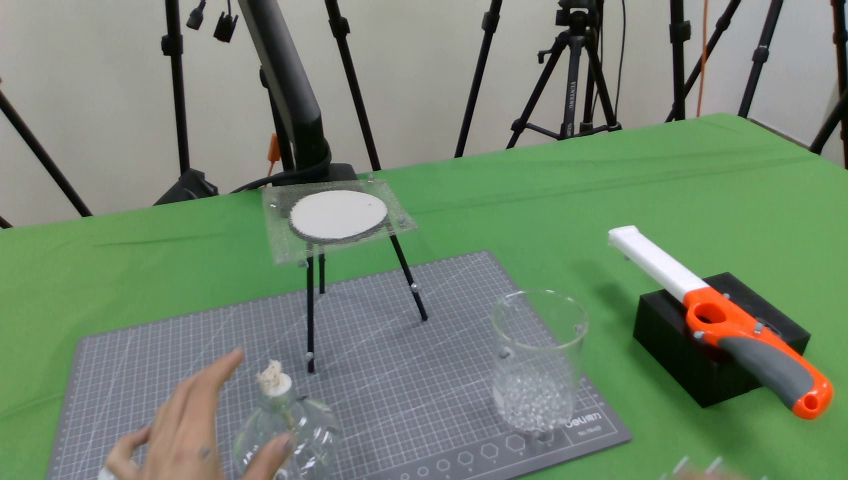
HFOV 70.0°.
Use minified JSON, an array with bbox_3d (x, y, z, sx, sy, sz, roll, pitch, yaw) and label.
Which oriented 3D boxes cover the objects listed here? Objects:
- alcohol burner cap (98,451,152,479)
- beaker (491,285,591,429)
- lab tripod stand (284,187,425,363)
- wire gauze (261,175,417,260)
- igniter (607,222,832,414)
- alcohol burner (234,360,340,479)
[{"bbox_3d":[-0.218,0.175,0.443,0.034,0.048,0.033,-1,34,1],"label":"alcohol burner cap"},{"bbox_3d":[0.089,0.096,0.494,0.074,0.101,0.083,-22,37,-28],"label":"beaker"},{"bbox_3d":[-0.074,0.026,0.581,0.148,0.132,0.147,-1,31,1],"label":"lab tripod stand"},{"bbox_3d":[-0.080,-0.028,0.540,0.122,0.011,0.123,-10,34,-15],"label":"wire gauze"},{"bbox_3d":[0.246,0.053,0.538,0.057,0.025,0.273,-11,30,-12],"label":"igniter"},{"bbox_3d":[-0.101,0.130,0.439,0.078,0.120,0.077,-1,35,1],"label":"alcohol burner"}]
